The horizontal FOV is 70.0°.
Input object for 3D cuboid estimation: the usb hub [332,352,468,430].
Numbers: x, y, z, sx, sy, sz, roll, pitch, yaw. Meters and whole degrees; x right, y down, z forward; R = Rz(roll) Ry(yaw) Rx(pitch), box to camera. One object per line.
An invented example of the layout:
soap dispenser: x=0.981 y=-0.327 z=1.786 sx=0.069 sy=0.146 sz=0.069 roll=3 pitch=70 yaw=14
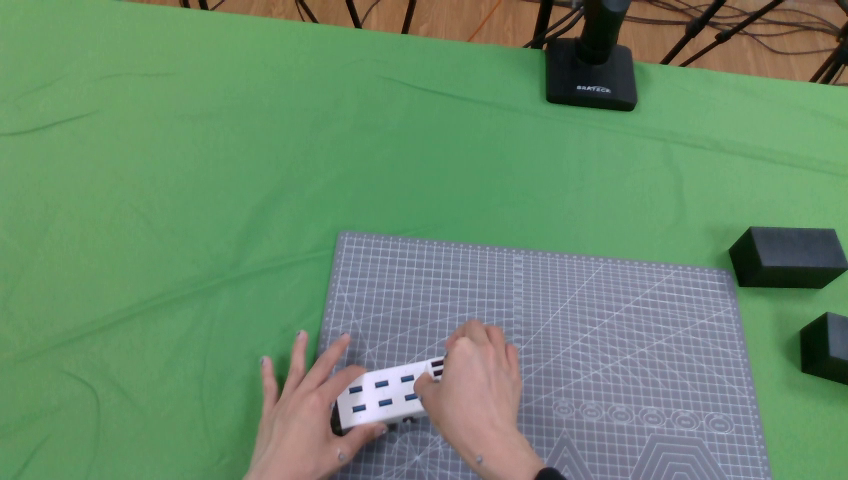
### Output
usb hub: x=-0.024 y=0.144 z=0.584 sx=0.125 sy=0.025 sz=0.049 roll=-9 pitch=60 yaw=-10

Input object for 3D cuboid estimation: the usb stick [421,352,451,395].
usb stick: x=0.010 y=0.127 z=0.563 sx=0.021 sy=0.059 sz=0.027 roll=-13 pitch=60 yaw=-11
